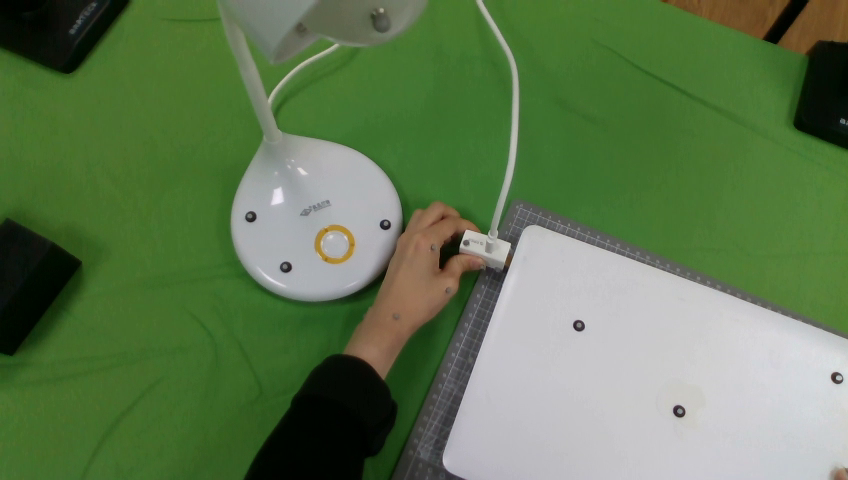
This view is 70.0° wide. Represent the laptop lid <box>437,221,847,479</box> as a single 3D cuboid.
[{"bbox_3d":[0.212,0.143,0.520,0.356,0.013,0.240,22,73,5],"label":"laptop lid"}]

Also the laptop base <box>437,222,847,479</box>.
[{"bbox_3d":[0.213,0.145,0.531,0.354,0.023,0.234,21,74,5],"label":"laptop base"}]

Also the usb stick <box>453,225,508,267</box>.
[{"bbox_3d":[0.058,0.008,0.561,0.059,0.027,0.021,20,70,2],"label":"usb stick"}]

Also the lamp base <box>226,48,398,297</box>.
[{"bbox_3d":[-0.110,-0.060,0.504,0.160,0.181,0.178,-36,72,-14],"label":"lamp base"}]

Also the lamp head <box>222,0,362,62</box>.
[{"bbox_3d":[-0.053,-0.143,0.214,0.112,0.112,0.123,-46,101,-16],"label":"lamp head"}]
